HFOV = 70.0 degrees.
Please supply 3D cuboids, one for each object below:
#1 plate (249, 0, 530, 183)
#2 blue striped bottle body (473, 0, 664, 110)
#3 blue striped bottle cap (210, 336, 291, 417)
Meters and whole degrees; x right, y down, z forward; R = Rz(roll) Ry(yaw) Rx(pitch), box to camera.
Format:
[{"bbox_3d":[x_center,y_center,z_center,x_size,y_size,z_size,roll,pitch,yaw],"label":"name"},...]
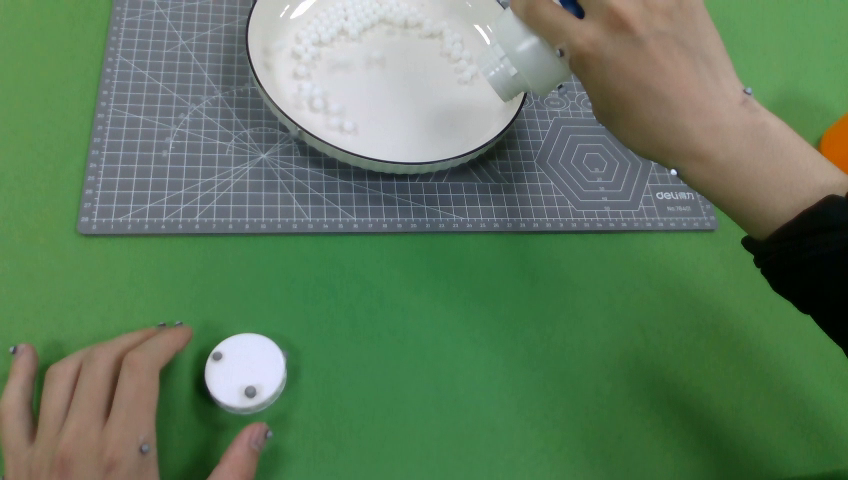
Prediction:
[{"bbox_3d":[-0.023,-0.127,0.457,0.208,0.039,0.206,5,62,-9],"label":"plate"},{"bbox_3d":[0.092,-0.140,0.410,0.121,0.063,0.062,-35,69,18],"label":"blue striped bottle body"},{"bbox_3d":[-0.100,0.078,0.351,0.045,0.021,0.044,4,65,-8],"label":"blue striped bottle cap"}]
